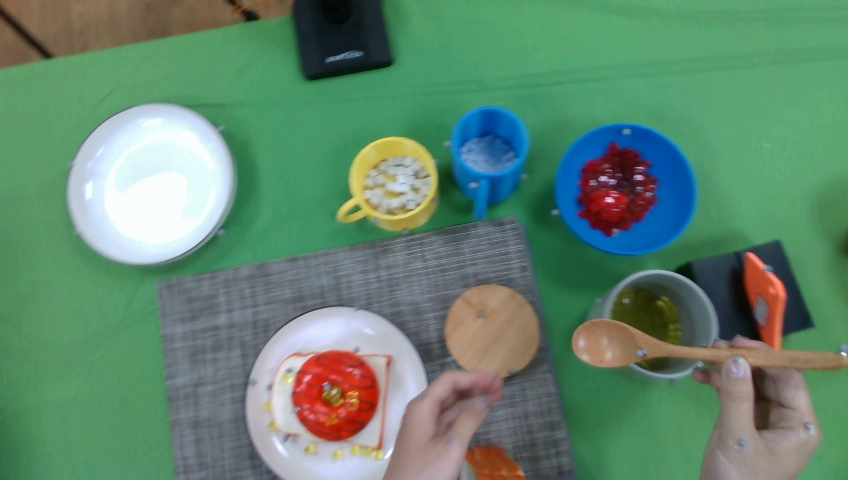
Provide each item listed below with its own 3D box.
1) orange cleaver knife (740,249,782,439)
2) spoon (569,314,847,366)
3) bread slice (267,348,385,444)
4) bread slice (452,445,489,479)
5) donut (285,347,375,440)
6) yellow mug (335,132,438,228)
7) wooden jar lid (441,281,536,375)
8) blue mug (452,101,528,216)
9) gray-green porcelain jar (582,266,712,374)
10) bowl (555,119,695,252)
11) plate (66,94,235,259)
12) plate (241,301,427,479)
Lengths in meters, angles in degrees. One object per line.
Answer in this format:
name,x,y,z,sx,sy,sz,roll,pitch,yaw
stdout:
orange cleaver knife,0.363,0.114,0.655,0.012,0.076,0.212,-12,108,2
spoon,0.201,0.081,0.455,0.192,0.022,0.041,-1,96,42
bread slice,-0.112,0.175,0.691,0.131,0.019,0.104,4,79,-1
bread slice,0.049,0.269,0.616,0.018,0.134,0.106,-3,77,-7
donut,-0.101,0.166,0.660,0.099,0.048,0.098,0,80,-1
yellow mug,-0.048,-0.062,0.719,0.131,0.064,0.099,-31,78,-2
wooden jar lid,0.074,0.101,0.701,0.108,0.021,0.108,0,80,3
blue mug,0.071,-0.085,0.697,0.082,0.106,0.116,10,80,5
gray-green porcelain jar,0.228,0.089,0.645,0.106,0.127,0.105,0,79,3
bowl,0.221,-0.053,0.697,0.151,0.077,0.150,-1,79,3
plate,-0.332,-0.076,0.750,0.207,0.039,0.206,0,79,3
plate,-0.099,0.174,0.686,0.209,0.038,0.208,-1,79,3
